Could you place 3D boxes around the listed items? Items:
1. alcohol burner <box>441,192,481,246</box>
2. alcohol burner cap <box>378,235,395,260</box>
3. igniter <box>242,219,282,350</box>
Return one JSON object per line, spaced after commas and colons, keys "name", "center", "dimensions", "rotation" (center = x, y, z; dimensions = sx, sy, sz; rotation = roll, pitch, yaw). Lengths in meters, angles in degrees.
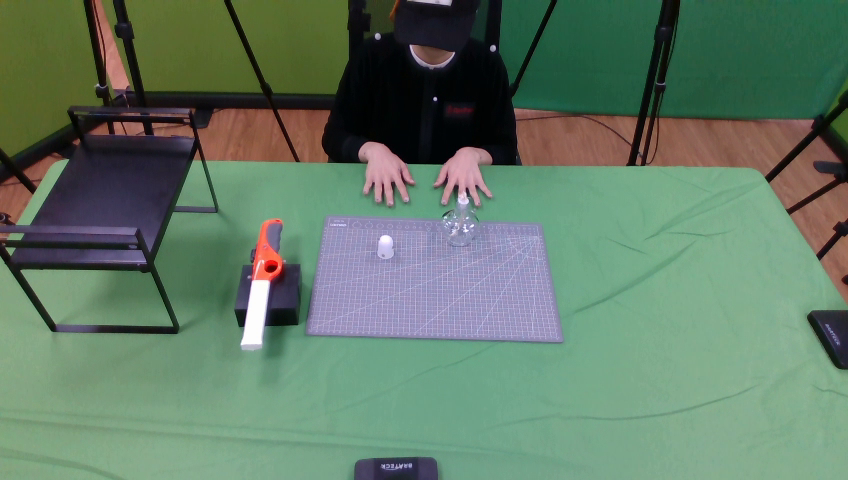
{"name": "alcohol burner", "center": [0.073, -0.046, 1.176], "dimensions": [0.078, 0.119, 0.077], "rotation": [2, 44, -2]}
{"name": "alcohol burner cap", "center": [-0.072, 0.012, 1.160], "dimensions": [0.034, 0.048, 0.033], "rotation": [0, 47, 0]}
{"name": "igniter", "center": [-0.277, 0.065, 1.044], "dimensions": [0.057, 0.025, 0.274], "rotation": [1, 48, -6]}
